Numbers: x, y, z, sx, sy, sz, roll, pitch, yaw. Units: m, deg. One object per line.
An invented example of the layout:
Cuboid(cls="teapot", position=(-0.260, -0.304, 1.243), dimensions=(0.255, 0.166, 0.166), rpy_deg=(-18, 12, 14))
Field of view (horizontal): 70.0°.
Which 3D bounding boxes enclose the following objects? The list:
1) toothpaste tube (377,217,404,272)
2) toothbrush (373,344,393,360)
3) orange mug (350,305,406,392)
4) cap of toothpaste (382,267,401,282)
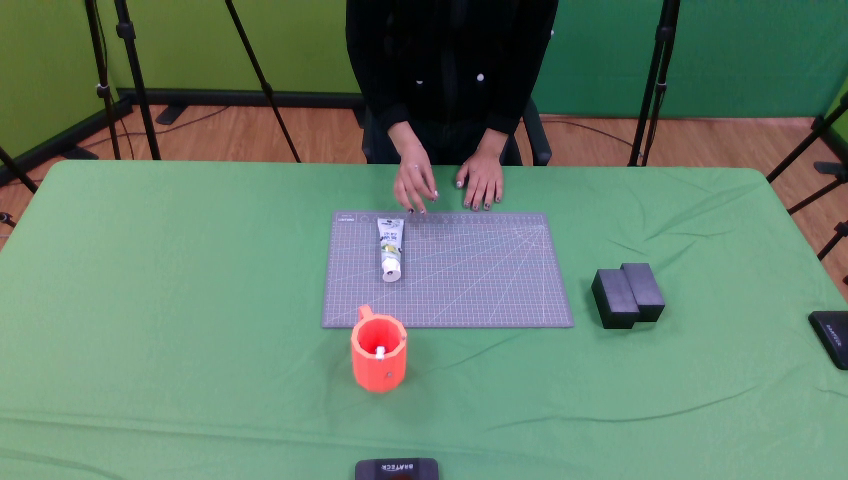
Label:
Cuboid(cls="toothpaste tube", position=(-0.063, 0.008, 1.179), dimensions=(0.055, 0.034, 0.164), rpy_deg=(5, 42, -9))
Cuboid(cls="toothbrush", position=(-0.062, 0.167, 0.925), dimensions=(0.014, 0.182, 0.016), rpy_deg=(-19, 84, 0))
Cuboid(cls="orange mug", position=(-0.080, 0.168, 0.978), dimensions=(0.083, 0.101, 0.125), rpy_deg=(-16, 54, -18))
Cuboid(cls="cap of toothpaste", position=(-0.060, 0.062, 1.118), dimensions=(0.037, 0.037, 0.011), rpy_deg=(-9, 50, -12))
